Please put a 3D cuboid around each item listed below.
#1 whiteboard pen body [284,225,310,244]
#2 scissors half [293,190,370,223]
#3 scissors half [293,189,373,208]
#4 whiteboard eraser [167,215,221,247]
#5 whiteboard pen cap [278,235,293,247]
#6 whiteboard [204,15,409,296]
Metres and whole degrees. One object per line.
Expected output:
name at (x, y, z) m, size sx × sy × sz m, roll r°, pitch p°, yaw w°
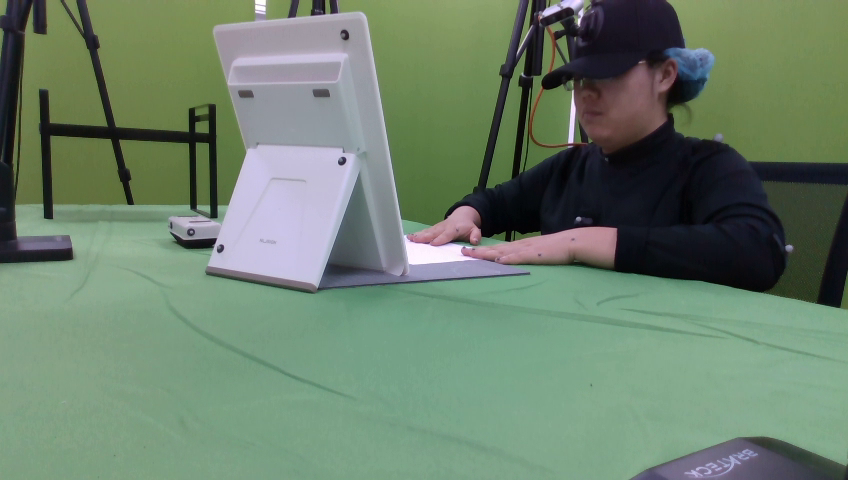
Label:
whiteboard pen body at (-0.208, -0.008, 0.985) m, size 0.017 × 0.017 × 0.141 m, roll 3°, pitch 9°, yaw 1°
scissors half at (-0.205, -0.078, 1.338) m, size 0.175 × 0.040 × 0.013 m, roll 22°, pitch 10°, yaw -8°
scissors half at (-0.201, -0.097, 1.332) m, size 0.175 × 0.040 × 0.013 m, roll 5°, pitch 17°, yaw -4°
whiteboard eraser at (-0.350, -0.014, 0.920) m, size 0.056 × 0.042 × 0.112 m, roll 0°, pitch 7°, yaw -35°
whiteboard pen cap at (-0.211, 0.002, 0.928) m, size 0.018 × 0.018 × 0.033 m, roll 3°, pitch 6°, yaw 1°
whiteboard at (-0.166, -0.072, 0.669) m, size 0.216 × 0.305 × 0.144 m, roll 8°, pitch 30°, yaw 30°
